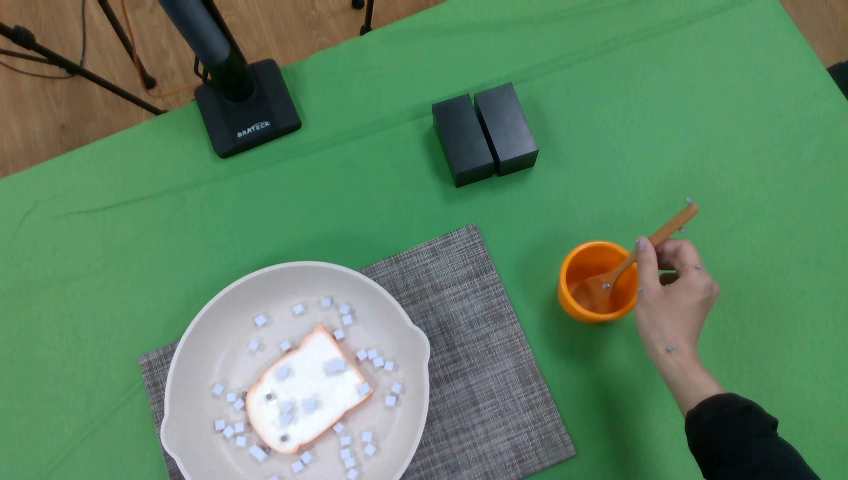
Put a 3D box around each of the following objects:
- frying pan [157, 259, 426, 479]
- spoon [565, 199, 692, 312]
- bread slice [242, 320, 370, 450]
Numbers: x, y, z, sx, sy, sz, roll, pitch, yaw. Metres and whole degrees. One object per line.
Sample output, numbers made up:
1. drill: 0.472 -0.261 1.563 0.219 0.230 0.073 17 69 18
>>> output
1. frying pan: -0.110 0.257 0.650 0.307 0.103 0.483 -19 66 -2
2. spoon: 0.218 0.020 0.659 0.022 0.194 0.041 -7 59 -34
3. bread slice: -0.144 0.179 0.715 0.134 0.018 0.106 -42 77 -11
